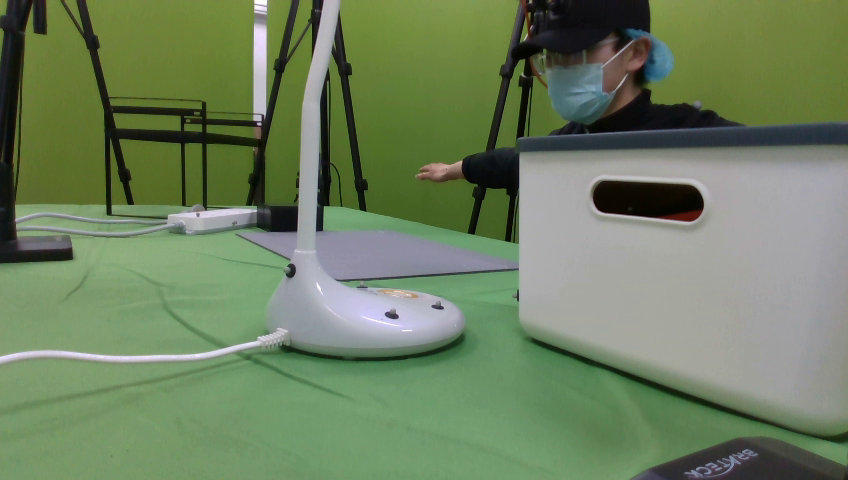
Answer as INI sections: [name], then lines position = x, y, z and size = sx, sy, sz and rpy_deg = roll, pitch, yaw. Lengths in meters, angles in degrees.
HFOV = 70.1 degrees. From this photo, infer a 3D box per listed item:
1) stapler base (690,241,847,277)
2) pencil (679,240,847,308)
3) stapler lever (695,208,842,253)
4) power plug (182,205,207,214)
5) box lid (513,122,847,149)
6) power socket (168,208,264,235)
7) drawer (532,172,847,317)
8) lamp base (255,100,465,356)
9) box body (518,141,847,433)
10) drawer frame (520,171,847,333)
[stapler base]
position = 0.271, 0.014, 0.486
size = 0.041, 0.024, 0.130
rpy_deg = -13, 3, -19
[pencil]
position = 0.249, 0.019, 0.463
size = 0.012, 0.012, 0.193
rpy_deg = 1, 11, -8
[stapler lever]
position = 0.268, -0.009, 0.484
size = 0.027, 0.040, 0.117
rpy_deg = -13, 2, -19
[power plug]
position = -0.456, -0.041, 1.195
size = 0.052, 0.035, 0.072
rpy_deg = 0, 39, 24
[box lid]
position = 0.282, -0.068, 0.478
size = 0.374, 0.015, 0.262
rpy_deg = -3, 9, -36
[power socket]
position = -0.381, -0.038, 1.129
size = 0.072, 0.032, 0.227
rpy_deg = 4, 8, 17
[drawer]
position = 0.226, 0.004, 0.467
size = 0.213, 0.073, 0.193
rpy_deg = -12, 2, -35
[lamp base]
position = -0.051, -0.014, 0.466
size = 0.160, 0.180, 0.180
rpy_deg = 7, 11, 34
[box body]
position = 0.278, 0.005, 0.485
size = 0.366, 0.160, 0.253
rpy_deg = -3, 9, -36
[drawer frame]
position = 0.223, 0.004, 0.466
size = 0.215, 0.082, 0.200
rpy_deg = -11, 2, -36
